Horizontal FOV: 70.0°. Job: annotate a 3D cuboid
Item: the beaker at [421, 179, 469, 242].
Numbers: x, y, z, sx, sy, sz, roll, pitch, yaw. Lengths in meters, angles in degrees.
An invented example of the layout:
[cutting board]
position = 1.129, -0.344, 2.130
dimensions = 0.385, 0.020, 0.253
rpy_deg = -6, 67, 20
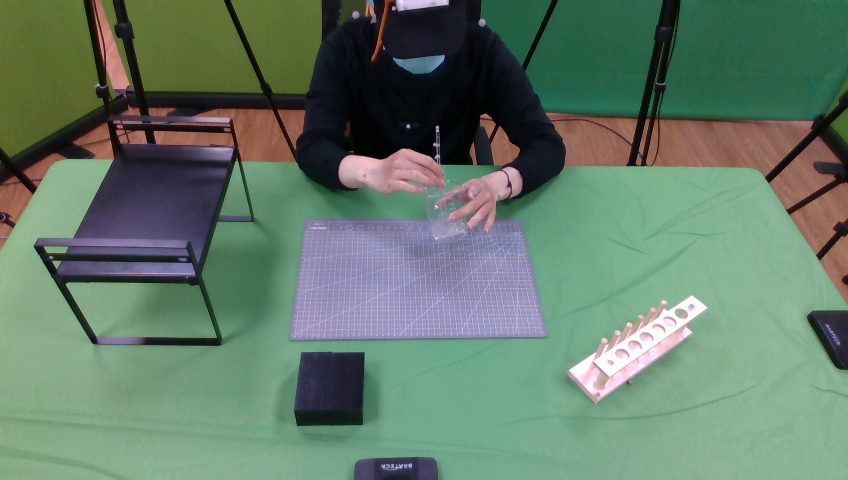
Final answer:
[beaker]
position = 0.044, -0.053, 1.111
dimensions = 0.084, 0.101, 0.073
rpy_deg = -5, 27, 11

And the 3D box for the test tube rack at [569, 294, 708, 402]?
[test tube rack]
position = 0.360, 0.167, 1.015
dimensions = 0.242, 0.085, 0.066
rpy_deg = -25, 52, -25

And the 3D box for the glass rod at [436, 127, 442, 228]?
[glass rod]
position = 0.026, -0.108, 1.088
dimensions = 0.008, 0.200, 0.008
rpy_deg = -2, 32, 1
